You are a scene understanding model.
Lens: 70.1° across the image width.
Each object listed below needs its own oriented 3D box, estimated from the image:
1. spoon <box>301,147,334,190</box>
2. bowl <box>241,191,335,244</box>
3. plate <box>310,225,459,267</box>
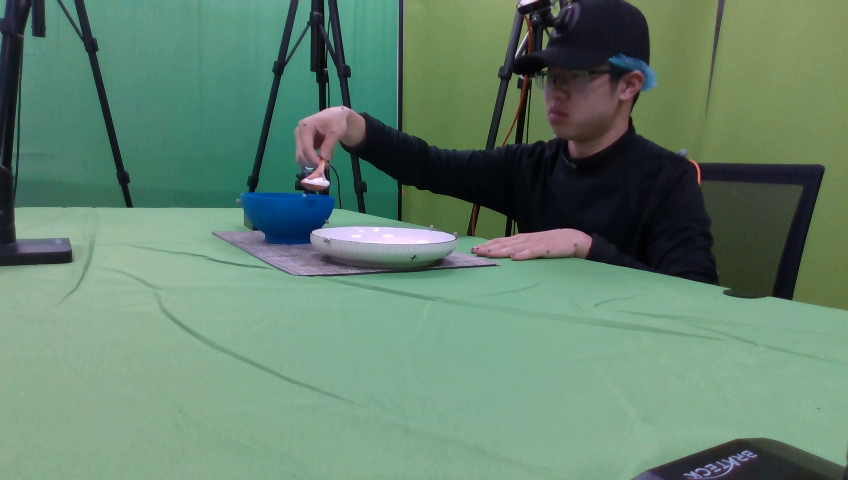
[{"bbox_3d":[-0.164,-0.120,0.984,0.042,0.021,0.193,9,29,-3],"label":"spoon"},{"bbox_3d":[-0.223,-0.037,0.992,0.151,0.077,0.151,3,8,0],"label":"bowl"},{"bbox_3d":[-0.055,0.008,0.851,0.208,0.039,0.207,2,7,0],"label":"plate"}]
